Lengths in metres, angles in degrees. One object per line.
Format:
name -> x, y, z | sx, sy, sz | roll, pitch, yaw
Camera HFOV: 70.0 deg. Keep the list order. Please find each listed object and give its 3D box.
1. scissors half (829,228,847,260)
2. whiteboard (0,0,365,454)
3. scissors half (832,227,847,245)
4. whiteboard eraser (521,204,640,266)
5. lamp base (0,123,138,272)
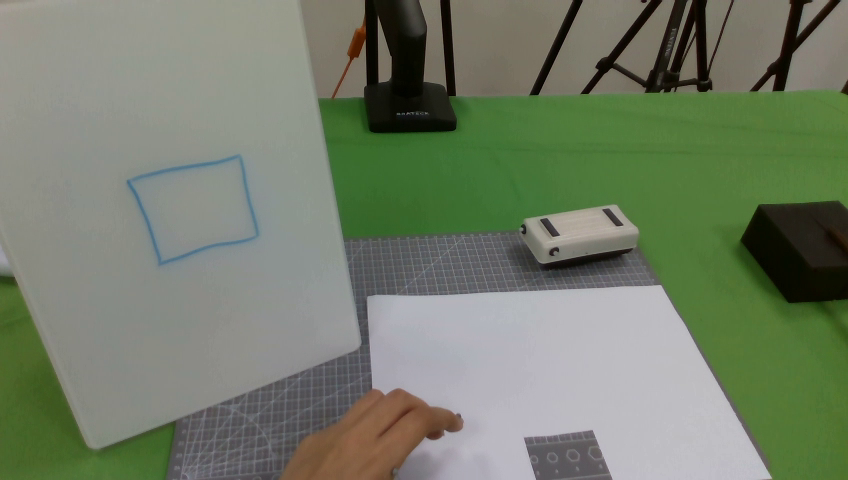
scissors half -> 0.428, 0.044, 0.558 | 0.013, 0.040, 0.173 | -9, 39, -2
whiteboard -> -0.193, -0.034, 0.477 | 0.218, 0.307, 0.142 | -17, 26, -23
scissors half -> 0.429, 0.058, 0.573 | 0.013, 0.040, 0.173 | -5, 56, -6
whiteboard eraser -> 0.163, -0.004, 0.633 | 0.113, 0.042, 0.055 | -9, 43, -15
lamp base -> -0.384, -0.087, 0.571 | 0.178, 0.182, 0.160 | 24, 44, 24
